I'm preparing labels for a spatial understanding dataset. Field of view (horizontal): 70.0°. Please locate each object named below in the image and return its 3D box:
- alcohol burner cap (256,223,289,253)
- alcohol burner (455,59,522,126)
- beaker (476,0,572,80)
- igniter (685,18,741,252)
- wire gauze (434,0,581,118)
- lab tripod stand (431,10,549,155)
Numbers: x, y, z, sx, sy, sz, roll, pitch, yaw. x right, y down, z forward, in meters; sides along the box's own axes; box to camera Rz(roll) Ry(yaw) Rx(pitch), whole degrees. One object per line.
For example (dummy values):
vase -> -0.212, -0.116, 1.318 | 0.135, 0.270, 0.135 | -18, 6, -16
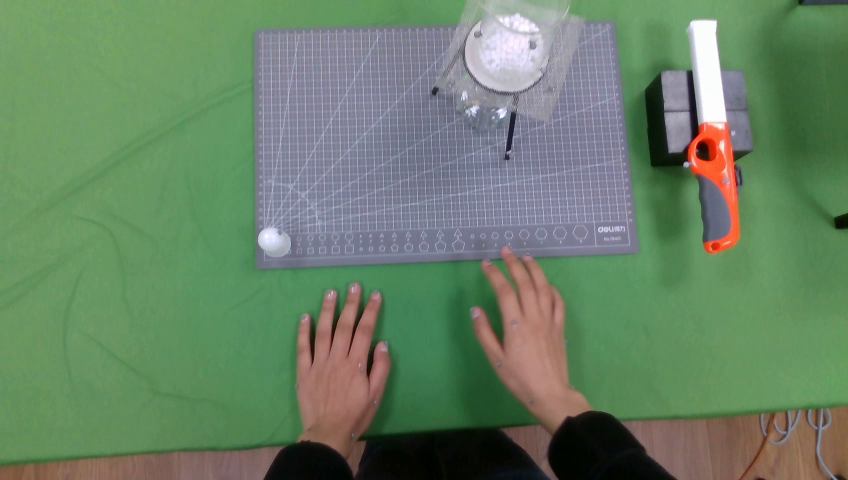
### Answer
alcohol burner cap -> -0.173, -0.004, 0.684 | 0.034, 0.048, 0.033 | 1, 80, -3
alcohol burner -> 0.075, -0.174, 0.686 | 0.078, 0.119, 0.077 | 0, 82, -1
beaker -> 0.085, -0.202, 0.565 | 0.084, 0.100, 0.073 | -2, 78, -2
igniter -> 0.324, -0.122, 0.687 | 0.057, 0.025, 0.275 | 0, 79, 1
wire gauze -> 0.087, -0.194, 0.613 | 0.121, 0.011, 0.124 | 20, 77, -1
lab tripod stand -> 0.082, -0.185, 0.678 | 0.148, 0.132, 0.147 | 0, 78, -2
